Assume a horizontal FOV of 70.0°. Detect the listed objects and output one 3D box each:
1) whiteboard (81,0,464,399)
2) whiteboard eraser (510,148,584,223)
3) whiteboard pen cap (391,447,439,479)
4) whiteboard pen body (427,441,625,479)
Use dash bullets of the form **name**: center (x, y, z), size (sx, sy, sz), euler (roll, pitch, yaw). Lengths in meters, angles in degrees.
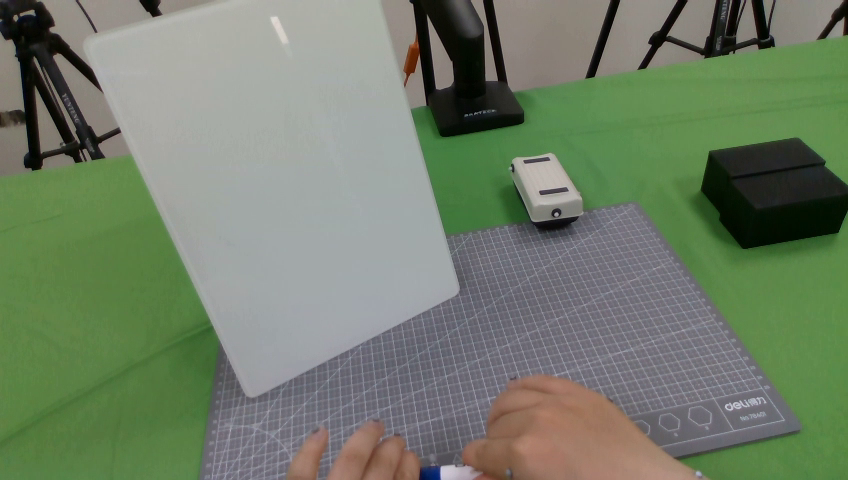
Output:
- **whiteboard**: center (-0.123, -0.059, 0.549), size (0.217, 0.307, 0.142), euler (-25, 24, -19)
- **whiteboard eraser**: center (0.135, -0.061, 0.673), size (0.055, 0.042, 0.111), euler (-10, 36, -1)
- **whiteboard pen cap**: center (-0.007, 0.150, 0.386), size (0.018, 0.018, 0.033), euler (29, 61, 36)
- **whiteboard pen body**: center (0.055, 0.143, 0.383), size (0.140, 0.017, 0.017), euler (-9, 39, 6)
